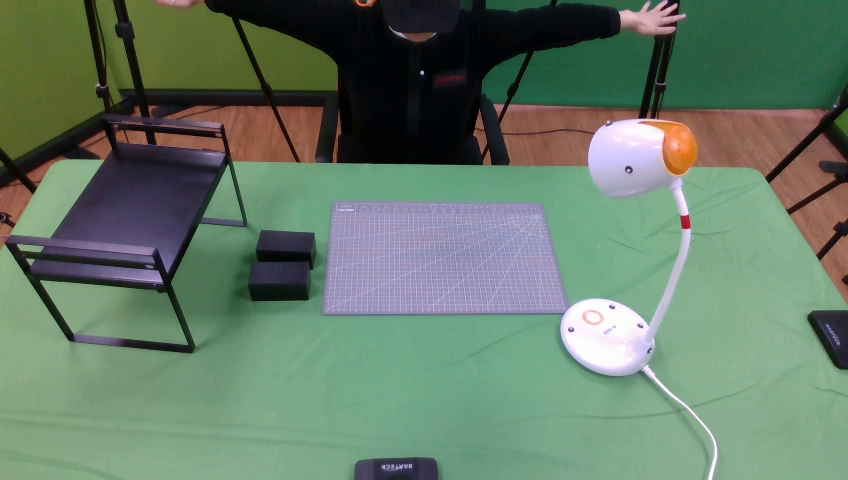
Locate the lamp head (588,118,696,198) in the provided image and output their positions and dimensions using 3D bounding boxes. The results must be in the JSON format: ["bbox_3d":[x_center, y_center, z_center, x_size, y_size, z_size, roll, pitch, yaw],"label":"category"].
[{"bbox_3d":[0.304,-0.113,0.823,0.112,0.112,0.122,-26,16,-25],"label":"lamp head"}]

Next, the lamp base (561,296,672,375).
[{"bbox_3d":[0.332,0.119,0.996,0.160,0.181,0.178,-34,59,-31],"label":"lamp base"}]
